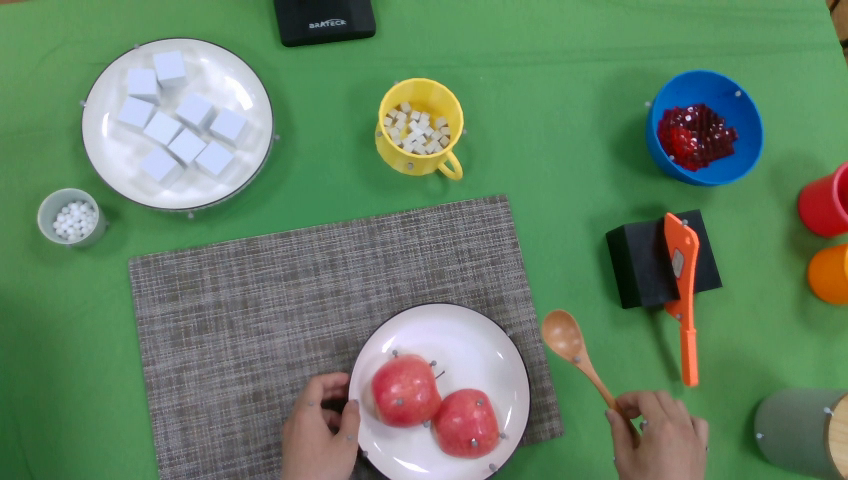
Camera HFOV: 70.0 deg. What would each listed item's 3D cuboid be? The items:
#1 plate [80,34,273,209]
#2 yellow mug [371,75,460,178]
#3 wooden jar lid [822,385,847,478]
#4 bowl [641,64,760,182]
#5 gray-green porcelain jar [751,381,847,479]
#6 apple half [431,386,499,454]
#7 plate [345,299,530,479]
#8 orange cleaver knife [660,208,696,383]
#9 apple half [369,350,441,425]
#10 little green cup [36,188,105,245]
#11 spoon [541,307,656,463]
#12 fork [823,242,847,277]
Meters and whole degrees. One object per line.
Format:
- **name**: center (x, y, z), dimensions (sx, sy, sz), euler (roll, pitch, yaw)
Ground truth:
- **plate**: center (-0.280, -0.135, 0.701), dimensions (0.208, 0.039, 0.206), euler (2, 79, -9)
- **yellow mug**: center (-0.001, -0.127, 0.730), dimensions (0.100, 0.064, 0.131), euler (-40, 89, -14)
- **wooden jar lid**: center (0.471, 0.207, 0.649), dimensions (0.108, 0.021, 0.108), euler (2, 82, -9)
- **bowl**: center (0.339, -0.139, 0.780), dimensions (0.152, 0.077, 0.151), euler (2, 80, -8)
- **gray-green porcelain jar**: center (0.463, 0.219, 0.709), dimensions (0.106, 0.126, 0.105), euler (2, 79, -8)
- **apple half**: center (0.048, 0.205, 0.680), dimensions (0.081, 0.033, 0.081), euler (2, 76, -7)
- **plate**: center (0.014, 0.171, 0.688), dimensions (0.209, 0.038, 0.208), euler (2, 80, -9)
- **orange cleaver knife**: center (0.307, 0.068, 0.735), dimensions (0.012, 0.076, 0.212), euler (-10, 105, -7)
- **apple half**: center (-0.021, 0.164, 0.668), dimensions (0.075, 0.053, 0.080), euler (-14, 82, -9)
- **little green cup**: center (-0.383, -0.023, 0.662), dimensions (0.062, 0.038, 0.061), euler (2, 80, -10)
- **spoon**: center (0.187, 0.154, 0.641), dimensions (0.041, 0.022, 0.193), euler (-33, 83, -12)
- **fork**: center (0.553, 0.069, 0.739), dimensions (0.028, 0.019, 0.205), euler (5, 35, -8)
